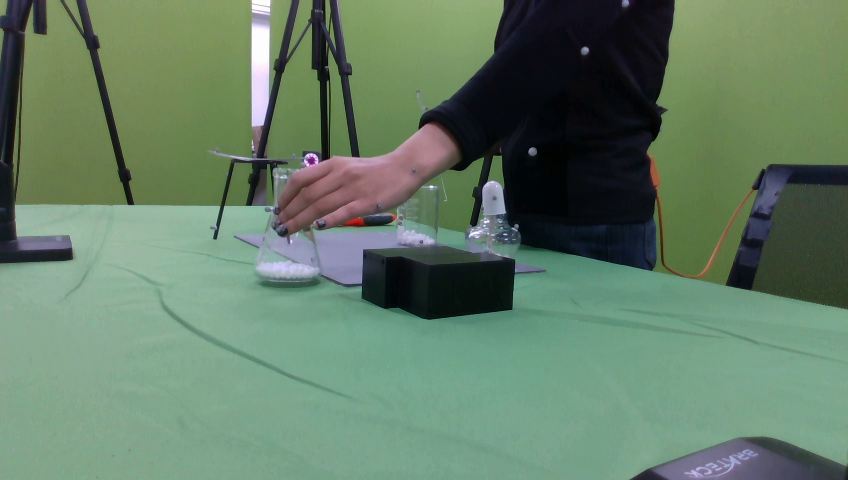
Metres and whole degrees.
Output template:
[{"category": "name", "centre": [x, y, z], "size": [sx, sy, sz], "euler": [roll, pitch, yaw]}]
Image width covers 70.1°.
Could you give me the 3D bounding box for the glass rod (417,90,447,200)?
[{"category": "glass rod", "centre": [0.015, -0.165, 1.044], "size": [0.008, 0.199, 0.008], "euler": [-14, -7, -1]}]

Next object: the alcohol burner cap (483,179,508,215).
[{"category": "alcohol burner cap", "centre": [0.094, -0.057, 0.810], "size": [0.034, 0.048, 0.034], "euler": [-7, 6, 1]}]

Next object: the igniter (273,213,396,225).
[{"category": "igniter", "centre": [-0.179, -0.044, 1.258], "size": [0.278, 0.025, 0.057], "euler": [-3, -1, -39]}]

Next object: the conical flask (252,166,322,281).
[{"category": "conical flask", "centre": [-0.149, -0.019, 0.662], "size": [0.075, 0.122, 0.075], "euler": [2, 5, 0]}]

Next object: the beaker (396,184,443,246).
[{"category": "beaker", "centre": [-0.011, -0.043, 1.004], "size": [0.083, 0.100, 0.074], "euler": [8, 9, 39]}]

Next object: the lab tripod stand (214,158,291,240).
[{"category": "lab tripod stand", "centre": [-0.268, -0.068, 1.002], "size": [0.148, 0.131, 0.148], "euler": [3, 6, 0]}]

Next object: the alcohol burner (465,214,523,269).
[{"category": "alcohol burner", "centre": [0.094, -0.022, 0.815], "size": [0.078, 0.119, 0.078], "euler": [0, 6, 0]}]

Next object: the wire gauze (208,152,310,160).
[{"category": "wire gauze", "centre": [-0.270, -0.135, 0.994], "size": [0.124, 0.011, 0.122], "euler": [8, 8, 41]}]
